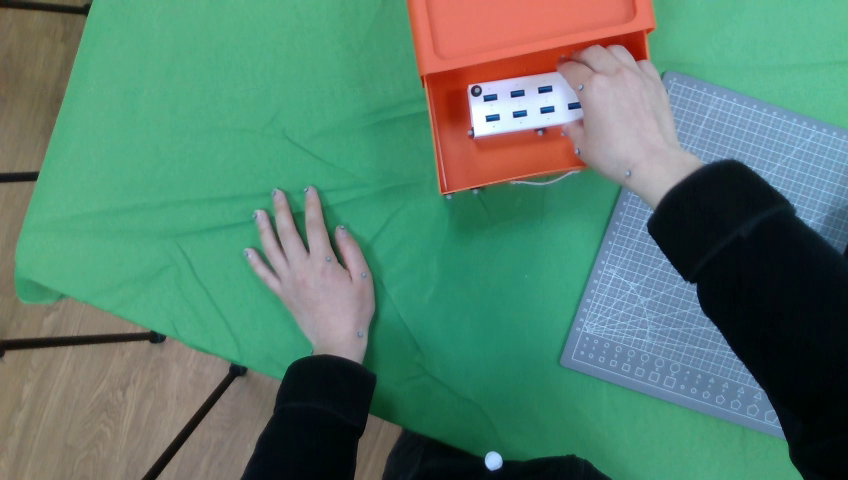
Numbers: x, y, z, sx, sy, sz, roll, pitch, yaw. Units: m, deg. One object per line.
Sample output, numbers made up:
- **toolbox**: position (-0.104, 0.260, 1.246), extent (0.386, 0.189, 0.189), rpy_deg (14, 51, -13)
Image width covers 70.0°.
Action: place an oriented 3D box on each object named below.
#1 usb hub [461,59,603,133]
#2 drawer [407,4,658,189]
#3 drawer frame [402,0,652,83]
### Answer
- **usb hub**: position (0.099, -0.134, 0.561), extent (0.125, 0.025, 0.049), rpy_deg (-9, 96, 0)
- **drawer**: position (0.089, -0.161, 0.536), extent (0.194, 0.073, 0.212), rpy_deg (-9, 96, 3)
- **drawer frame**: position (0.071, -0.262, 0.525), extent (0.201, 0.082, 0.214), rpy_deg (-12, 95, 3)
